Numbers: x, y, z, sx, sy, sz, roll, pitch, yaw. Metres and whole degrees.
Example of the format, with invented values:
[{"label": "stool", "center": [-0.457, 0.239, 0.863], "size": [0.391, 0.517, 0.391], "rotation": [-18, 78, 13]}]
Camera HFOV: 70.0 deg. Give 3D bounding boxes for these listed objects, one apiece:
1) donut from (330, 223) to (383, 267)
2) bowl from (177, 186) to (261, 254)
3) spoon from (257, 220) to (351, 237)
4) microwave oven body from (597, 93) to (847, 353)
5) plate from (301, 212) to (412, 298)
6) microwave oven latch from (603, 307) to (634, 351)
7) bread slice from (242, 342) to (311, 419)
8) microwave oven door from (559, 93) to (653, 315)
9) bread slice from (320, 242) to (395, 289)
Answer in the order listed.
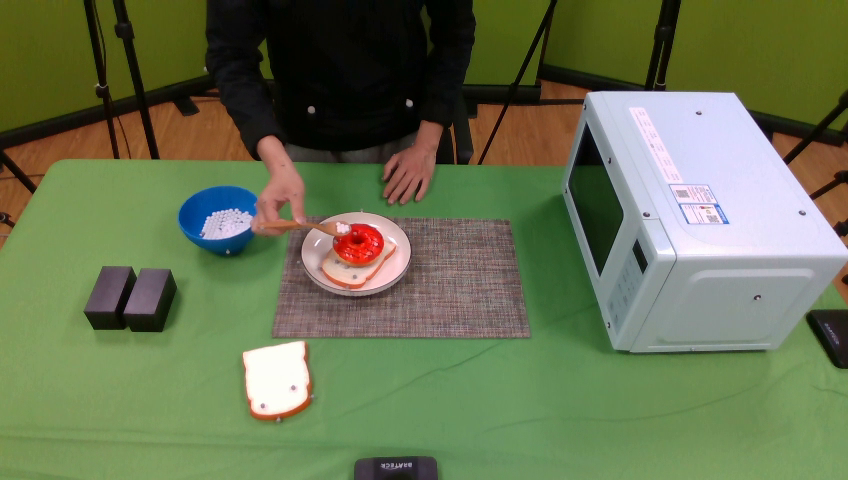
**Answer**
[{"label": "donut", "center": [-0.125, 0.010, 1.127], "size": [0.099, 0.048, 0.098], "rotation": [3, 46, -3]}, {"label": "bowl", "center": [-0.383, -0.026, 1.158], "size": [0.151, 0.077, 0.150], "rotation": [2, 46, -2]}, {"label": "spoon", "center": [-0.200, -0.024, 1.027], "size": [0.194, 0.021, 0.041], "rotation": [6, 37, -52]}, {"label": "microwave oven body", "center": [0.475, -0.041, 1.109], "size": [0.326, 0.261, 0.438], "rotation": [-1, 45, -4]}, {"label": "plate", "center": [-0.126, 0.031, 1.145], "size": [0.208, 0.039, 0.206], "rotation": [2, 46, -2]}, {"label": "microwave oven latch", "center": [0.332, 0.153, 1.044], "size": [0.030, 0.029, 0.078], "rotation": [0, 45, -4]}, {"label": "bread slice", "center": [-0.233, 0.223, 0.970], "size": [0.105, 0.019, 0.130], "rotation": [-10, 46, -13]}, {"label": "microwave oven door", "center": [0.327, -0.074, 1.123], "size": [0.039, 0.245, 0.353], "rotation": [-1, 46, -5]}, {"label": "bread slice", "center": [-0.129, 0.038, 1.142], "size": [0.107, 0.018, 0.134], "rotation": [19, 45, 14]}]
